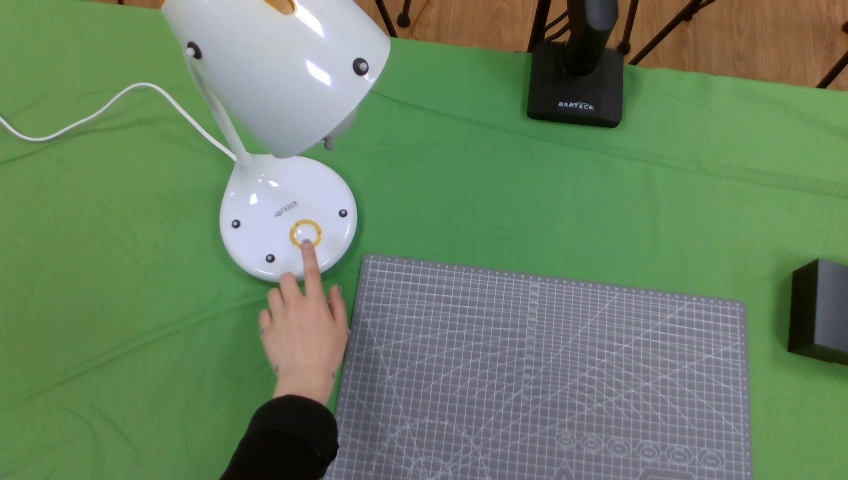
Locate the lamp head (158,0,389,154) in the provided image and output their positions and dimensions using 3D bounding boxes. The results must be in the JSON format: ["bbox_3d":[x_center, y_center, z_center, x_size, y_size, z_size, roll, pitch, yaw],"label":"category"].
[{"bbox_3d":[-0.102,-0.132,0.378,0.124,0.111,0.112,41,71,-28],"label":"lamp head"}]

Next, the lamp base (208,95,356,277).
[{"bbox_3d":[-0.171,-0.066,0.651,0.178,0.181,0.160,40,75,15],"label":"lamp base"}]
